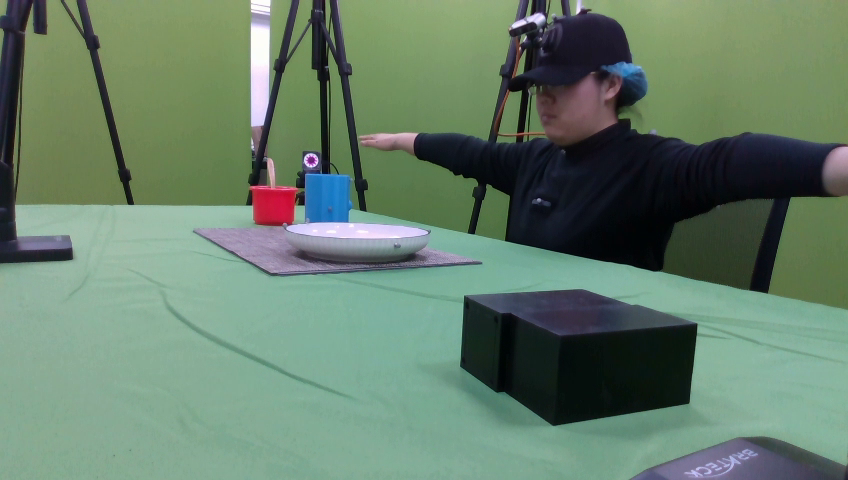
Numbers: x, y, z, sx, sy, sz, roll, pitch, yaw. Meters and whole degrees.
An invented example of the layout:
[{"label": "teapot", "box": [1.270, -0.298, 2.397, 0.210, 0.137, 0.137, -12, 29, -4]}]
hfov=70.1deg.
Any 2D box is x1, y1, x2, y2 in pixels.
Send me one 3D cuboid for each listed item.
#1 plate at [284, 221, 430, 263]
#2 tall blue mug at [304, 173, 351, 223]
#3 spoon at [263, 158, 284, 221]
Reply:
[{"label": "plate", "box": [-0.095, 0.002, 0.870, 0.208, 0.039, 0.207, 2, 7, 0]}, {"label": "tall blue mug", "box": [-0.178, -0.063, 1.062, 0.078, 0.108, 0.106, -4, 10, -38]}, {"label": "spoon", "box": [-0.319, -0.110, 1.274, 0.042, 0.021, 0.193, 3, 51, -20]}]
